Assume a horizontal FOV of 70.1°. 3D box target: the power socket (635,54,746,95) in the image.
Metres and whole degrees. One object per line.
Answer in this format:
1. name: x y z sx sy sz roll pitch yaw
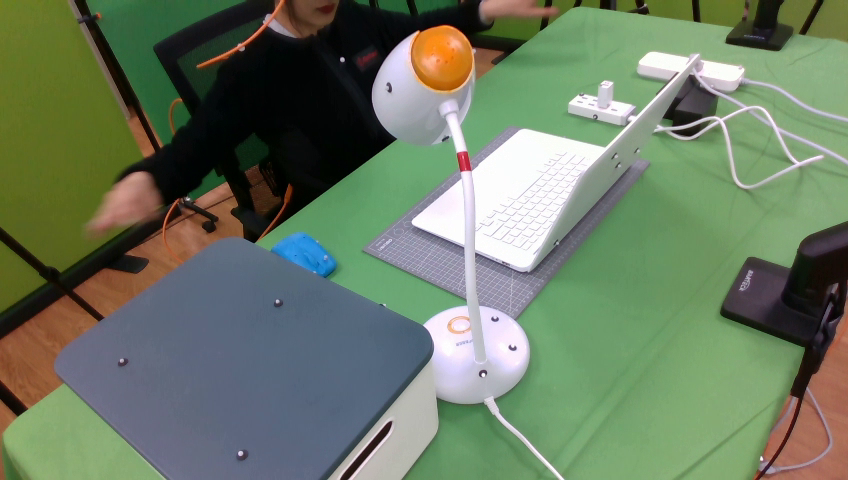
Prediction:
1. power socket: 0.564 -0.357 1.293 0.225 0.033 0.072 24 51 33

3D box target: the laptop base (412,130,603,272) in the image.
1. laptop base: 0.176 -0.083 1.055 0.233 0.023 0.355 21 48 36

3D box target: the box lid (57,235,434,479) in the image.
1. box lid: -0.198 0.123 0.653 0.368 0.015 0.264 22 49 32

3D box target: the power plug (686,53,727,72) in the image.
1. power plug: 0.584 -0.361 1.260 0.072 0.053 0.035 15 55 17

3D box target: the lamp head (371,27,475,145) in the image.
1. lamp head: 0.007 -0.167 0.644 0.113 0.112 0.122 -22 2 -14

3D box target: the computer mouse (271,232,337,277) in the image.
1. computer mouse: -0.197 0.026 0.983 0.063 0.041 0.116 -33 49 -28

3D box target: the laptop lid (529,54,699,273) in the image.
1. laptop lid: 0.283 -0.114 0.897 0.013 0.242 0.358 38 55 17

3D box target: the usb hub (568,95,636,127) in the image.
1. usb hub: 0.360 -0.263 1.228 0.124 0.025 0.049 24 50 33

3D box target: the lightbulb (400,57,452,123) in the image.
1. lightbulb: 0.003 -0.169 0.668 0.059 0.108 0.059 0 79 -1

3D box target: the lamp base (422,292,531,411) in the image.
1. lamp base: 0.054 0.095 0.740 0.161 0.181 0.177 -19 43 -11

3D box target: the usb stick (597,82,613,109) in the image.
1. usb stick: 0.360 -0.281 1.204 0.021 0.059 0.027 23 49 33

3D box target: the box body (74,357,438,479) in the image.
1. box body: -0.189 0.179 0.702 0.361 0.161 0.255 22 49 32
